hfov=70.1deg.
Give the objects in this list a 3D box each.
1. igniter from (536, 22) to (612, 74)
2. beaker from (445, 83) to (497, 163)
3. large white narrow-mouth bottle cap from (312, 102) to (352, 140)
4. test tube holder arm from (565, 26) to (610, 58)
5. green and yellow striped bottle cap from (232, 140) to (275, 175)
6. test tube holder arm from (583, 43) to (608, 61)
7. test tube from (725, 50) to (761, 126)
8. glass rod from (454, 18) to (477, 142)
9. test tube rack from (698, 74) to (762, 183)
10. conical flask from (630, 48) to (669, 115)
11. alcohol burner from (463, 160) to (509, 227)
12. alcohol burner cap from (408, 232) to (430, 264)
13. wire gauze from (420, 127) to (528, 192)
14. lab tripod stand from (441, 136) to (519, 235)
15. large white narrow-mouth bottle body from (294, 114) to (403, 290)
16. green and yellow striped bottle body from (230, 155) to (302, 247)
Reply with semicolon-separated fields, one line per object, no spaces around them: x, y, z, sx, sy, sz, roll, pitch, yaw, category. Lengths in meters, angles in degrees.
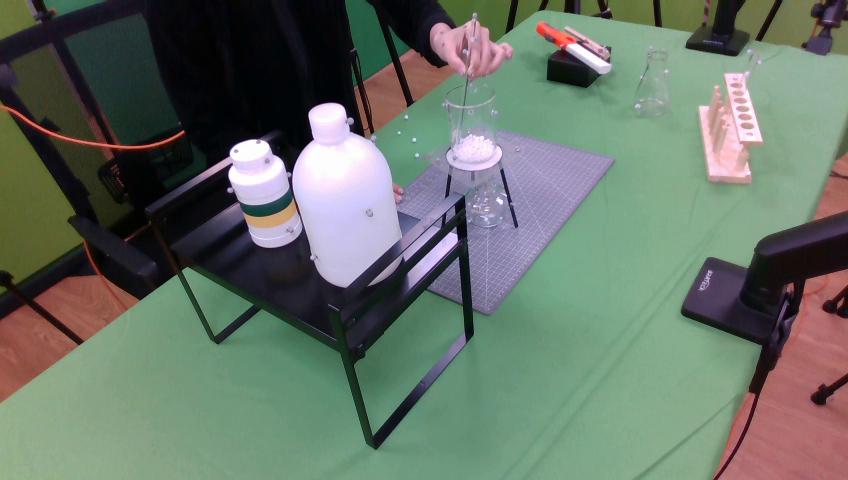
0.330;-0.438;1.366;0.057;0.025;0.274;-11;41;-19;igniter
0.073;-0.175;0.905;0.074;0.101;0.084;3;41;13;beaker
-0.088;-0.114;0.579;0.038;0.024;0.037;-3;39;3;large white narrow-mouth bottle cap
0.369;-0.451;1.373;0.013;0.015;0.177;-39;41;10;test tube holder arm
-0.192;-0.093;0.680;0.045;0.020;0.045;-5;39;5;green and yellow striped bottle cap
0.379;-0.420;1.341;0.010;0.015;0.087;-39;41;10;test tube holder arm
0.570;-0.269;1.086;0.017;0.151;0.017;-1;45;1;test tube
0.058;-0.221;0.865;0.008;0.200;0.008;4;46;-3;glass rod
0.547;-0.208;1.095;0.066;0.085;0.242;5;42;15;test tube rack
0.456;-0.317;1.205;0.075;0.122;0.075;-4;41;4;conical flask
0.102;-0.081;0.982;0.078;0.119;0.077;-4;43;4;alcohol burner
-0.010;0.010;0.947;0.034;0.048;0.033;-4;41;4;alcohol burner cap
0.076;-0.131;0.927;0.122;0.011;0.124;-34;49;-25;wire gauze
0.083;-0.086;0.976;0.148;0.132;0.147;-4;42;4;lab tripod stand
-0.082;-0.047;0.634;0.102;0.195;0.101;-4;39;3;large white narrow-mouth bottle body
-0.188;-0.055;0.714;0.063;0.120;0.063;-4;40;4;green and yellow striped bottle body
